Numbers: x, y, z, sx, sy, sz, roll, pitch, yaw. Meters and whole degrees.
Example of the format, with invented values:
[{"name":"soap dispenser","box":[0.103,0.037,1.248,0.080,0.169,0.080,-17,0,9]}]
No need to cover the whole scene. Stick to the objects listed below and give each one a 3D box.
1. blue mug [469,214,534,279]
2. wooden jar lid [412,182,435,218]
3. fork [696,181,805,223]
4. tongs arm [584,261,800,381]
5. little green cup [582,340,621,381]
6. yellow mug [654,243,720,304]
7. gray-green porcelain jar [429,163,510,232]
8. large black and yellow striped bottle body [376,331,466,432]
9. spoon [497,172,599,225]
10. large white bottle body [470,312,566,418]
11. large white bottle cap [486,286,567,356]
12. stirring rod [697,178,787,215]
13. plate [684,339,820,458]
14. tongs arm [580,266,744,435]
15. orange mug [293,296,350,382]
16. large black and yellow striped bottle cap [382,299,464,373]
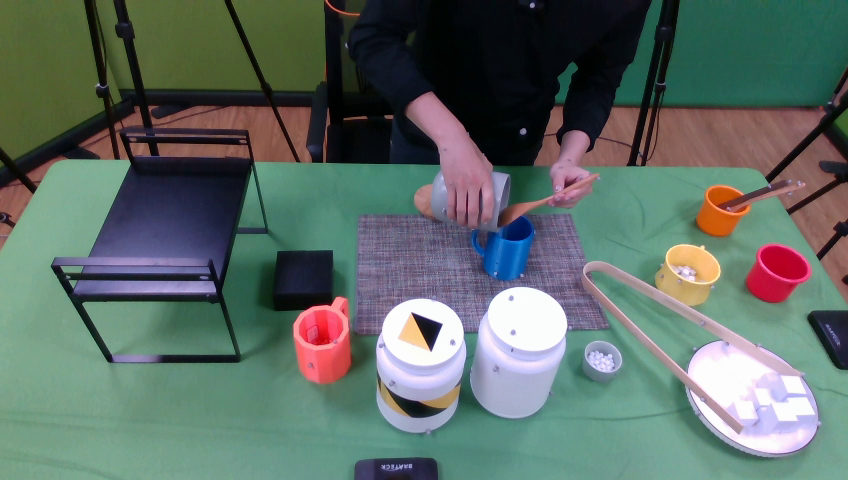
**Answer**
[{"name":"blue mug","box":[0.141,0.005,1.140,0.116,0.106,0.082,18,48,13]},{"name":"wooden jar lid","box":[0.029,-0.083,1.276,0.108,0.021,0.107,3,43,-3]},{"name":"fork","box":[0.659,-0.077,1.232,0.207,0.019,0.028,-26,35,34]},{"name":"tongs arm","box":[0.452,0.137,1.064,0.051,0.027,0.382,-34,50,-27]},{"name":"little green cup","box":[0.295,0.204,1.015,0.061,0.039,0.061,2,45,-2]},{"name":"yellow mug","box":[0.504,0.054,1.154,0.099,0.064,0.130,29,50,22]},{"name":"gray-green porcelain jar","box":[0.079,-0.077,1.073,0.126,0.106,0.105,12,47,13]},{"name":"large black and yellow striped bottle body","box":[-0.007,0.189,0.905,0.131,0.185,0.130,2,46,-2]},{"name":"spoon","box":[0.214,-0.075,1.062,0.194,0.022,0.041,-23,40,14]},{"name":"large white bottle body","box":[0.143,0.174,0.930,0.131,0.185,0.130,2,46,-2]},{"name":"large white bottle cap","box":[0.147,0.114,0.869,0.115,0.018,0.114,3,46,-3]},{"name":"stirring rod","box":[0.650,-0.088,1.245,0.006,0.176,0.014,29,50,-39]},{"name":"plate","box":[0.523,0.256,0.982,0.208,0.039,0.206,2,46,-2]},{"name":"tongs arm","box":[0.384,0.173,1.028,0.028,0.028,0.385,-25,46,-15]},{"name":"orange mug","box":[-0.158,0.154,0.985,0.083,0.101,0.125,17,52,11]},{"name":"large black and yellow striped bottle cap","box":[-0.002,0.132,0.843,0.115,0.019,0.114,2,46,-1]}]
